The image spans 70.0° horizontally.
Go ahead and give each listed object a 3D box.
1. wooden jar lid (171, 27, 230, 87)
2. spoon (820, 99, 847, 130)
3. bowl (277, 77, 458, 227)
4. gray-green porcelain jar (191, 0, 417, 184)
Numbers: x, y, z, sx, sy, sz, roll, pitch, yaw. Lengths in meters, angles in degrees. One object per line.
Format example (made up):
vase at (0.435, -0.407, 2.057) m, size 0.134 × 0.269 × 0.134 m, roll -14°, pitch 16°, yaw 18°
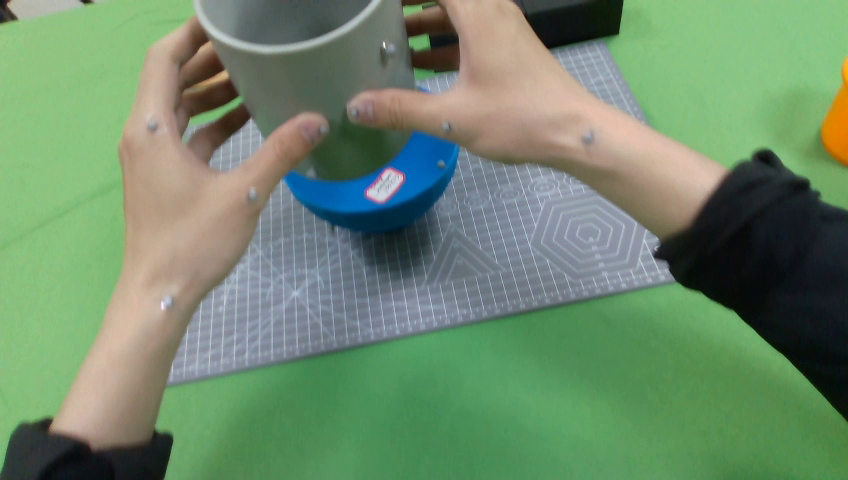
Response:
wooden jar lid at (-0.234, -0.213, 0.695) m, size 0.108 × 0.021 × 0.107 m, roll -3°, pitch 55°, yaw 5°
spoon at (0.402, -0.120, 0.451) m, size 0.022 × 0.193 × 0.041 m, roll 44°, pitch 62°, yaw -15°
bowl at (-0.042, -0.064, 0.522) m, size 0.151 × 0.077 × 0.150 m, roll -4°, pitch 55°, yaw 7°
gray-green porcelain jar at (-0.061, -0.103, 0.361) m, size 0.106 × 0.127 × 0.105 m, roll -3°, pitch 62°, yaw 6°
